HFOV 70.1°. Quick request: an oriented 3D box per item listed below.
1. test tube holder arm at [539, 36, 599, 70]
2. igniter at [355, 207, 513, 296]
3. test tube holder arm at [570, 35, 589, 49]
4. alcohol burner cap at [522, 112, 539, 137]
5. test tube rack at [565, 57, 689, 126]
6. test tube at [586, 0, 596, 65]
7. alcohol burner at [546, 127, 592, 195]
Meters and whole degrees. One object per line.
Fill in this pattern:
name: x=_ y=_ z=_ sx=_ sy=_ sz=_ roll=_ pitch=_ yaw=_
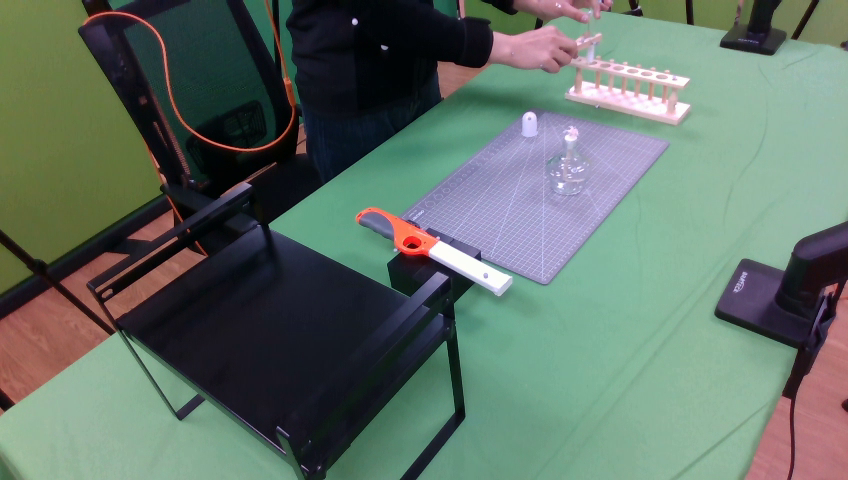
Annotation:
test tube holder arm: x=0.277 y=-0.355 z=1.144 sx=0.179 sy=0.015 sz=0.013 roll=-32 pitch=41 yaw=-32
igniter: x=0.006 y=0.010 z=0.885 sx=0.274 sy=0.025 sz=0.057 roll=27 pitch=53 yaw=30
test tube holder arm: x=0.301 y=-0.378 z=1.174 sx=0.010 sy=0.015 sz=0.088 roll=15 pitch=40 yaw=28
alcohol burner cap: x=0.210 y=-0.230 z=1.195 sx=0.034 sy=0.048 sz=0.033 roll=-5 pitch=44 yaw=5
test tube rack: x=0.412 y=-0.311 z=1.230 sx=0.240 sy=0.085 sz=0.067 roll=23 pitch=49 yaw=32
test tube: x=0.325 y=-0.408 z=1.177 sx=0.017 sy=0.151 sz=0.017 roll=-7 pitch=47 yaw=8
alcohol burner: x=0.246 y=-0.137 z=1.024 sx=0.078 sy=0.119 sz=0.077 roll=-4 pitch=38 yaw=4
